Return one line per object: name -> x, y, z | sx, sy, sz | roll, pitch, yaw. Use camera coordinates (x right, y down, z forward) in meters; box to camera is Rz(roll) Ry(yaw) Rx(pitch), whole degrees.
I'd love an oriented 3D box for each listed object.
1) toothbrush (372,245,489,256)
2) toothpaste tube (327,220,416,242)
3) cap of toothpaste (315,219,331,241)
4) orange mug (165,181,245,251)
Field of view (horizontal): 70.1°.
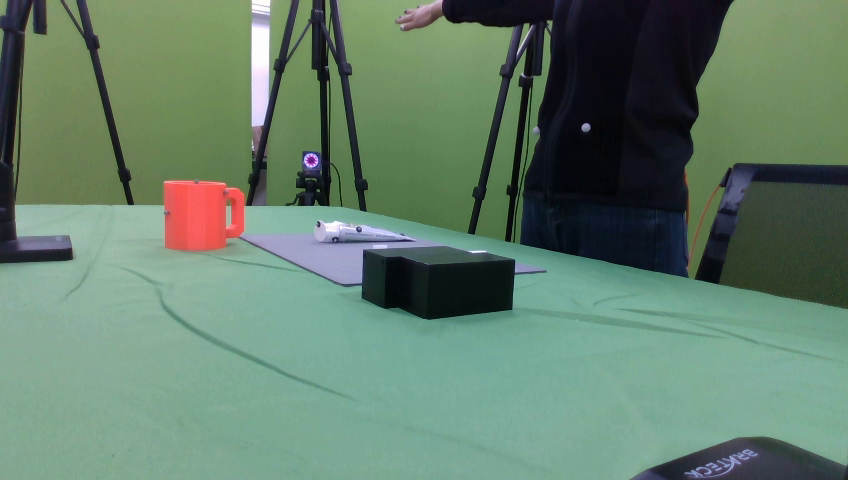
toothbrush -> 0.012, 0.016, 0.874 | 0.183, 0.016, 0.014 | 1, -5, -22
toothpaste tube -> -0.095, -0.012, 1.026 | 0.166, 0.034, 0.055 | 2, 13, -33
cap of toothpaste -> -0.164, -0.016, 0.982 | 0.011, 0.037, 0.037 | -8, 12, -43
orange mug -> -0.326, -0.040, 0.911 | 0.083, 0.101, 0.127 | 8, 14, 37
